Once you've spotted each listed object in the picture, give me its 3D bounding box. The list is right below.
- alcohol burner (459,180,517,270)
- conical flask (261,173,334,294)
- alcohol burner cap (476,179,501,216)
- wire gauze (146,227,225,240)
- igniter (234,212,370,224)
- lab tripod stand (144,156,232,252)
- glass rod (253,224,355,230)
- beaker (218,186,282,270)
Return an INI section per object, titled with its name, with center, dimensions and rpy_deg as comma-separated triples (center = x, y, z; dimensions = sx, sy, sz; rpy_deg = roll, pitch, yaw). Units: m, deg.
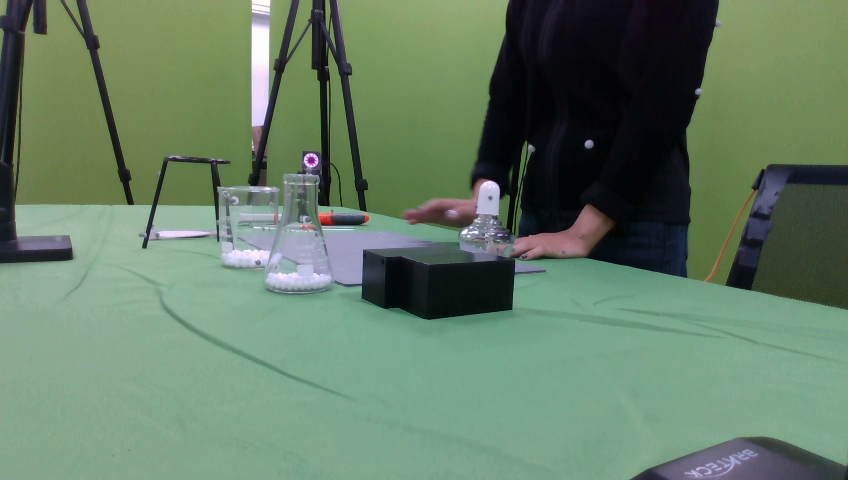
[alcohol burner]
center = 0.086, -0.021, 0.805
dimensions = 0.078, 0.119, 0.078
rpy_deg = 3, 9, 0
[conical flask]
center = -0.131, -0.009, 0.632
dimensions = 0.075, 0.122, 0.075
rpy_deg = 2, 8, 0
[alcohol burner cap]
center = 0.086, -0.056, 0.801
dimensions = 0.034, 0.048, 0.034
rpy_deg = 4, 2, 0
[wire gauze]
center = -0.400, -0.012, 1.019
dimensions = 0.122, 0.011, 0.124
rpy_deg = -1, 6, -26
[igniter]
center = -0.247, -0.046, 1.253
dimensions = 0.278, 0.025, 0.057
rpy_deg = -1, -3, -27
[lab tripod stand]
center = -0.325, -0.054, 0.881
dimensions = 0.148, 0.131, 0.148
rpy_deg = 4, 7, 0
[glass rod]
center = -0.226, -0.024, 1.162
dimensions = 0.201, 0.008, 0.008
rpy_deg = 1, 7, -29
[beaker]
center = -0.222, -0.017, 0.758
dimensions = 0.084, 0.100, 0.074
rpy_deg = 4, 7, 19
